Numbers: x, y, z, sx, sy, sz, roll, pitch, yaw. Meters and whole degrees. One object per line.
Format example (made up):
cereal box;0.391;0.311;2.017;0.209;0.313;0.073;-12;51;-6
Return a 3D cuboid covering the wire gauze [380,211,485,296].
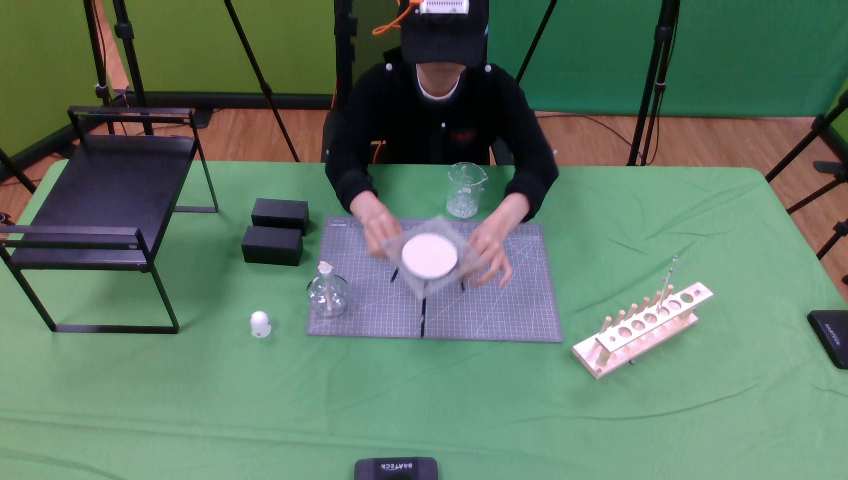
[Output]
wire gauze;0.013;0.015;0.936;0.121;0.011;0.124;-26;56;-21

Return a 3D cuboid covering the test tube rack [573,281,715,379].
test tube rack;0.378;0.140;1.038;0.242;0.085;0.066;-22;51;-23

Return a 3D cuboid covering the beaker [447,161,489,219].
beaker;0.087;-0.100;1.244;0.084;0.101;0.073;4;46;1

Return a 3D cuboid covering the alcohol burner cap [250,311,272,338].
alcohol burner cap;-0.278;0.141;1.025;0.034;0.048;0.033;1;47;-1

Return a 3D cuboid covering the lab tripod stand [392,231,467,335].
lab tripod stand;0.006;0.059;0.986;0.148;0.132;0.147;1;51;-1

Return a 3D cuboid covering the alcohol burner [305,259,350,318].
alcohol burner;-0.166;0.078;1.040;0.078;0.120;0.077;1;44;-1

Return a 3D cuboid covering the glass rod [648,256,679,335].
glass rod;0.390;0.095;0.990;0.008;0.201;0.008;-2;45;2
